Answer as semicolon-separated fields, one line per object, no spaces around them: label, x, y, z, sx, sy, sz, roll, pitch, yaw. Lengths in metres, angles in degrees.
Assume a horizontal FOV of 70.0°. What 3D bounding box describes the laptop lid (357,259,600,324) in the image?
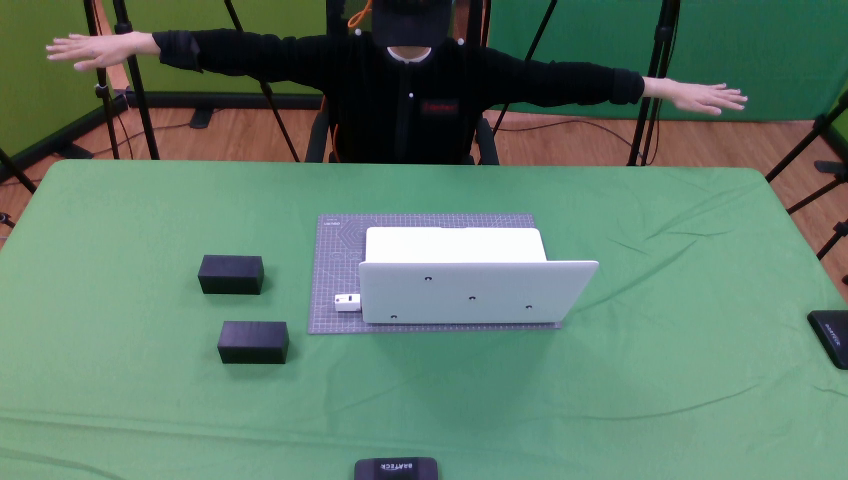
laptop lid;0.075;0.087;0.959;0.357;0.242;0.013;1;60;-5

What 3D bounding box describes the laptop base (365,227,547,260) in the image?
laptop base;0.065;0.062;1.144;0.355;0.023;0.234;0;43;-4

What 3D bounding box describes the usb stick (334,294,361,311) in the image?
usb stick;-0.128;0.111;1.066;0.059;0.027;0.021;2;45;-5
